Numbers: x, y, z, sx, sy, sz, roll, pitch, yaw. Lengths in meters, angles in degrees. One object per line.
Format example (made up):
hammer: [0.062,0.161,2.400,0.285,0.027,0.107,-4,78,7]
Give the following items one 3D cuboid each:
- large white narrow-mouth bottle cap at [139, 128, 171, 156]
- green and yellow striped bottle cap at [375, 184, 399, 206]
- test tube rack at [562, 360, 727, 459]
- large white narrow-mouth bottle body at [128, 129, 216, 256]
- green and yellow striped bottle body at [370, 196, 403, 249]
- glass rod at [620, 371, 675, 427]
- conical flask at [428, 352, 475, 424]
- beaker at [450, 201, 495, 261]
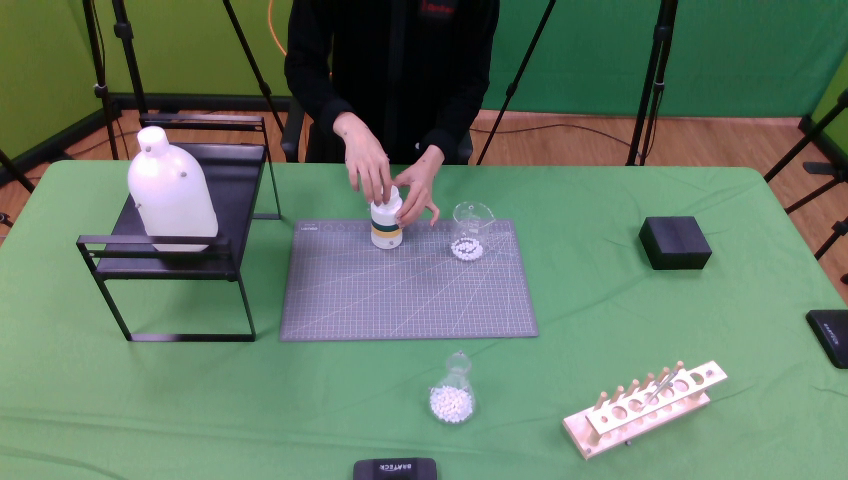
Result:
large white narrow-mouth bottle cap: [-0.359,-0.131,0.808,0.038,0.024,0.037,3,47,-3]
green and yellow striped bottle cap: [-0.069,-0.085,1.121,0.045,0.020,0.045,-4,43,4]
test tube rack: [0.341,0.247,0.940,0.243,0.085,0.066,-16,49,-18]
large white narrow-mouth bottle body: [-0.366,-0.073,0.872,0.102,0.195,0.101,3,47,-3]
green and yellow striped bottle body: [-0.073,-0.045,1.163,0.063,0.120,0.063,2,46,-2]
glass rod: [0.316,0.230,0.863,0.008,0.200,0.008,3,54,-3]
conical flask: [0.046,0.220,0.920,0.075,0.122,0.075,2,46,-2]
beaker: [0.089,-0.014,1.161,0.084,0.101,0.073,9,47,4]
